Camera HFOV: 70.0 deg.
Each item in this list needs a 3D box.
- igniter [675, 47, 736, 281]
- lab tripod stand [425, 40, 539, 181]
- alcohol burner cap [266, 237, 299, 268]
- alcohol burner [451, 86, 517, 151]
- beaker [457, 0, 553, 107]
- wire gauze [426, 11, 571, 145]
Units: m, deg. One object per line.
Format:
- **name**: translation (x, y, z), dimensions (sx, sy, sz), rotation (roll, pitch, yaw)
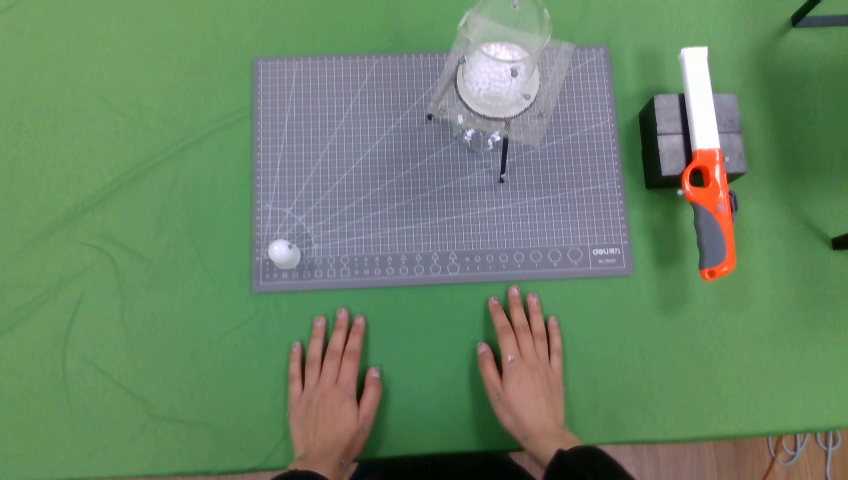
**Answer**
- **igniter**: translation (0.318, -0.090, 0.690), dimensions (0.057, 0.025, 0.275), rotation (-2, 78, 4)
- **lab tripod stand**: translation (0.075, -0.157, 0.687), dimensions (0.148, 0.132, 0.147), rotation (0, 77, -1)
- **alcohol burner cap**: translation (-0.165, 0.012, 0.695), dimensions (0.034, 0.048, 0.033), rotation (0, 78, -2)
- **alcohol burner**: translation (0.070, -0.147, 0.695), dimensions (0.078, 0.119, 0.077), rotation (0, 81, 0)
- **beaker**: translation (0.070, -0.177, 0.575), dimensions (0.084, 0.100, 0.073), rotation (-1, 77, -2)
- **wire gauze**: translation (0.079, -0.167, 0.623), dimensions (0.121, 0.011, 0.124), rotation (20, 75, 1)
